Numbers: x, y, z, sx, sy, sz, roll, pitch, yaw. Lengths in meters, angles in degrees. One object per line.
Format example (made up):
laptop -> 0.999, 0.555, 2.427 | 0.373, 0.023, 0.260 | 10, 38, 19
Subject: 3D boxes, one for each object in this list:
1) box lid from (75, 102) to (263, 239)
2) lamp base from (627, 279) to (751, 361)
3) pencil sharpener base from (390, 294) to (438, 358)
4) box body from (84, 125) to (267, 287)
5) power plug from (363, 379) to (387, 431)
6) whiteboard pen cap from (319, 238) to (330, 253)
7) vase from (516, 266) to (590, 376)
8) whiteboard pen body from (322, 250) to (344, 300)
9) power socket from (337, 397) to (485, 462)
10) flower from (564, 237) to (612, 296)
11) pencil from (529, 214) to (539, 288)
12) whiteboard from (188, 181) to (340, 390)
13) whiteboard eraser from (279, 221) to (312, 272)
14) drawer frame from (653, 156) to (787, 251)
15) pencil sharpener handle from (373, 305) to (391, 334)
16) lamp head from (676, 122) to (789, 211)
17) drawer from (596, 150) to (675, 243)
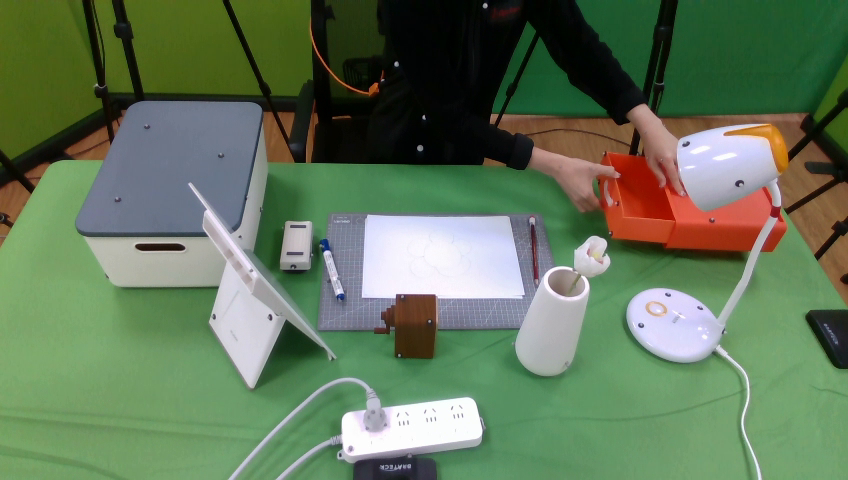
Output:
box lid -> -0.443, -0.138, 1.094 | 0.263, 0.015, 0.369 | -1, 47, -5
lamp base -> 0.459, 0.100, 1.027 | 0.178, 0.181, 0.160 | 27, 51, 17
pencil sharpener base -> -0.018, 0.143, 1.000 | 0.077, 0.107, 0.061 | 1, 46, -2
box body -> -0.446, -0.088, 1.150 | 0.254, 0.161, 0.361 | -1, 46, -5
power plug -> -0.072, 0.252, 0.910 | 0.035, 0.053, 0.072 | 3, 44, -1
whiteboard pen cap -> -0.191, 0.013, 1.163 | 0.018, 0.018, 0.033 | -13, 49, -16
vase -> 0.208, 0.132, 0.964 | 0.098, 0.201, 0.097 | 3, 46, -3
whiteboard pen body -> -0.173, 0.056, 1.127 | 0.017, 0.017, 0.140 | -12, 49, -16
power socket -> -0.018, 0.285, 0.915 | 0.227, 0.033, 0.071 | -5, 46, -8
flower -> 0.206, 0.088, 0.893 | 0.038, 0.363, 0.044 | -17, 67, -9
pencil -> 0.219, 0.019, 1.202 | 0.012, 0.012, 0.193 | 5, 48, 0
whiteboard -> -0.292, 0.096, 0.929 | 0.144, 0.307, 0.216 | -38, 57, -10
whiteboard eraser -> -0.244, 0.012, 1.154 | 0.055, 0.042, 0.112 | -2, 46, -4
drawer frame -> 0.568, -0.075, 1.211 | 0.214, 0.083, 0.200 | 3, 46, 0
pencil sharpener handle -> -0.069, 0.133, 0.989 | 0.030, 0.068, 0.036 | 1, 48, -2
lamp head -> 0.423, -0.104, 0.819 | 0.122, 0.113, 0.112 | -13, 33, 40
drawer -> 0.464, -0.084, 1.205 | 0.212, 0.073, 0.193 | 7, 46, -4
